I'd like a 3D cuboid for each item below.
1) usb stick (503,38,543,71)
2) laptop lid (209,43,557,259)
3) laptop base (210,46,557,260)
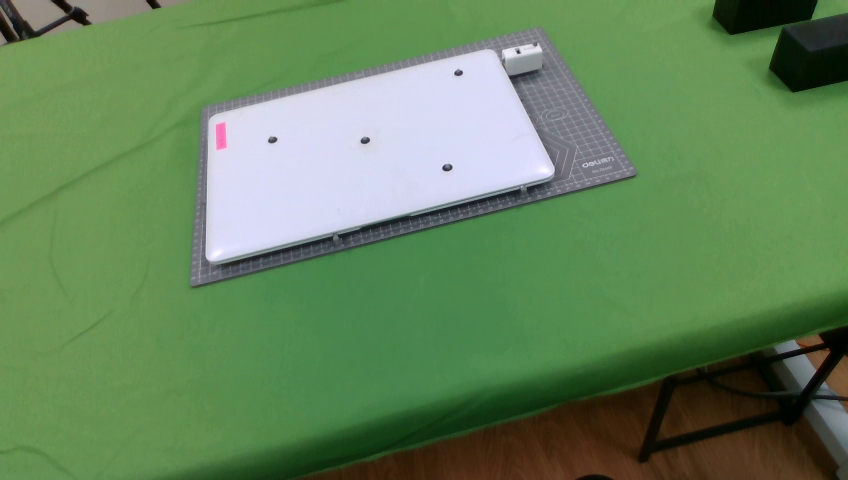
[{"bbox_3d":[0.110,-0.217,0.715,0.059,0.027,0.021,-15,49,1],"label":"usb stick"},{"bbox_3d":[-0.060,-0.110,0.656,0.357,0.013,0.239,-13,51,-1],"label":"laptop lid"},{"bbox_3d":[-0.059,-0.105,0.666,0.354,0.023,0.233,-14,52,-2],"label":"laptop base"}]
